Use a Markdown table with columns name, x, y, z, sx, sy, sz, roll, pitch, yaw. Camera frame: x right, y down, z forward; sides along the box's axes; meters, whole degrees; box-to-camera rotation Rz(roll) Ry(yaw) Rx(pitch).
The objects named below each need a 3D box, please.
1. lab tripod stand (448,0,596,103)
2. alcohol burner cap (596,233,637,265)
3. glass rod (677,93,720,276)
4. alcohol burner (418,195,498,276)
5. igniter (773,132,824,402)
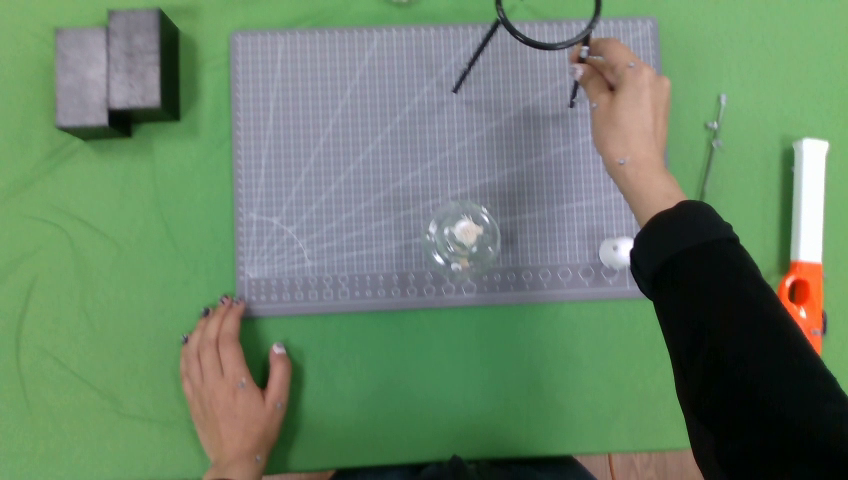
| name | x | y | z | sx | sy | sz | roll | pitch | yaw |
| --- | --- | --- | --- | --- | --- | --- | --- | --- | --- |
| lab tripod stand | 0.093 | -0.197 | 0.561 | 0.148 | 0.132 | 0.148 | 0 | 82 | -3 |
| alcohol burner cap | 0.195 | 0.008 | 0.608 | 0.034 | 0.048 | 0.034 | 0 | 85 | 0 |
| glass rod | 0.287 | -0.059 | 0.635 | 0.008 | 0.008 | 0.199 | 14 | 86 | -1 |
| alcohol burner | 0.033 | -0.006 | 0.568 | 0.078 | 0.119 | 0.077 | 0 | 84 | -2 |
| igniter | 0.386 | 0.028 | 0.622 | 0.057 | 0.025 | 0.276 | 5 | 86 | -12 |
